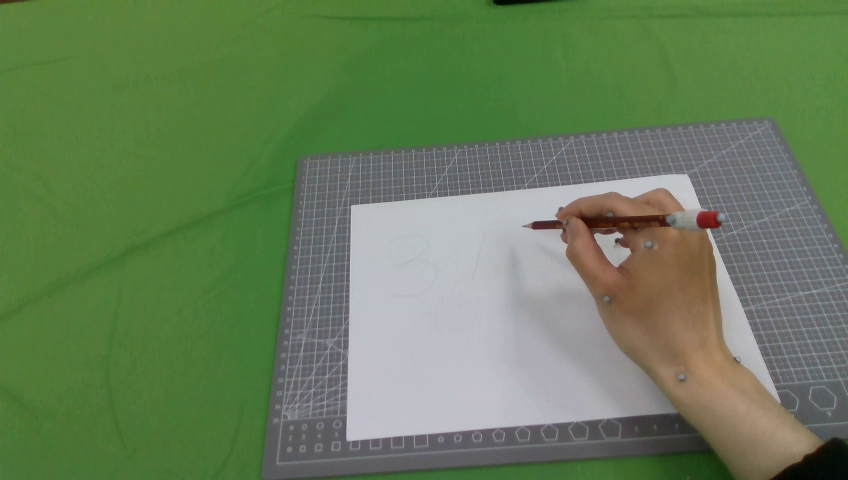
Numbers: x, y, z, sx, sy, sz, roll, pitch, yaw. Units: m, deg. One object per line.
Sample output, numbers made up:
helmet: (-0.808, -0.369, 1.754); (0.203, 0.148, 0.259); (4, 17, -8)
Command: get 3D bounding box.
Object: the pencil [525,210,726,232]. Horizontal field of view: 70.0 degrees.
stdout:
pencil: (0.118, -0.010, 0.402); (0.012, 0.193, 0.012); (0, 90, -22)
